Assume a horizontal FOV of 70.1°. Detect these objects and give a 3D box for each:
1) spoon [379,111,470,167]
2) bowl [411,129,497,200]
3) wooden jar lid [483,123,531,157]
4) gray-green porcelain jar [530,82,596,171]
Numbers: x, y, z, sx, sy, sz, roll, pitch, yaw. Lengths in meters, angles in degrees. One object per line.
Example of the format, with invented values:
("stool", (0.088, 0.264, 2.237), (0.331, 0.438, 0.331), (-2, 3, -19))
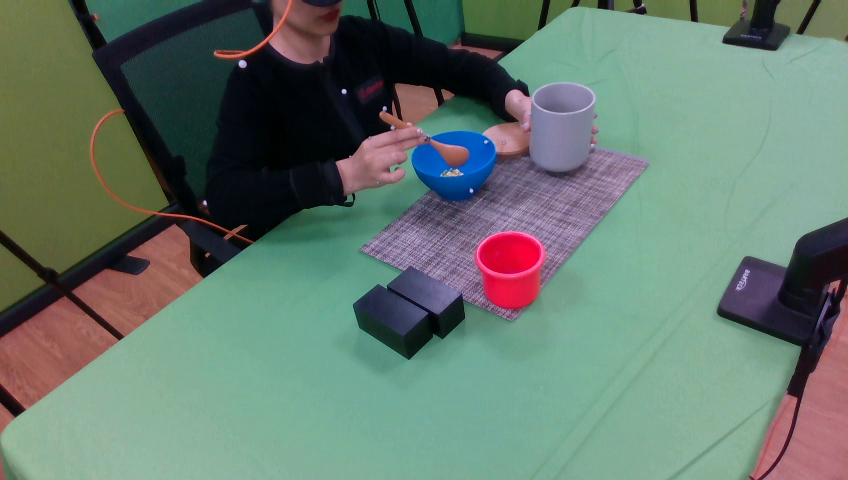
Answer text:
("spoon", (0.003, -0.159, 0.953), (0.041, 0.195, 0.021), (-50, 40, 22))
("bowl", (0.056, -0.124, 1.069), (0.151, 0.077, 0.150), (-6, 40, 5))
("wooden jar lid", (0.165, -0.194, 1.177), (0.108, 0.021, 0.108), (-4, 39, 4))
("gray-green porcelain jar", (0.238, -0.192, 1.047), (0.106, 0.127, 0.105), (-3, 43, 3))
